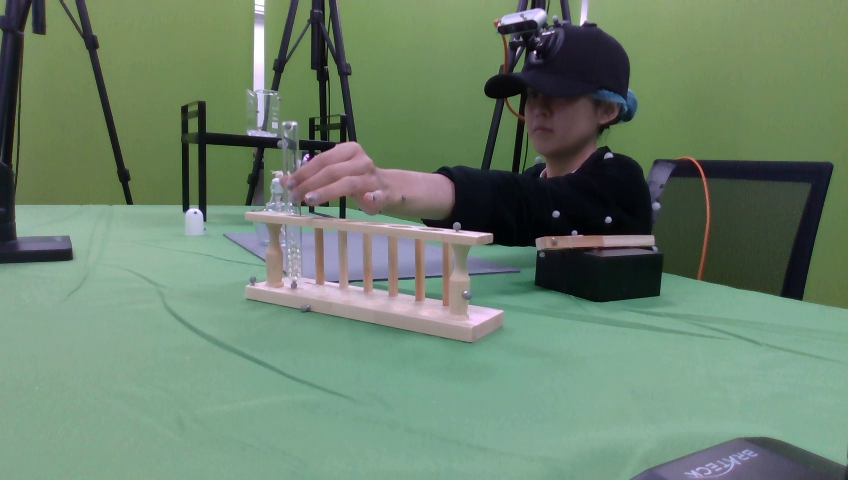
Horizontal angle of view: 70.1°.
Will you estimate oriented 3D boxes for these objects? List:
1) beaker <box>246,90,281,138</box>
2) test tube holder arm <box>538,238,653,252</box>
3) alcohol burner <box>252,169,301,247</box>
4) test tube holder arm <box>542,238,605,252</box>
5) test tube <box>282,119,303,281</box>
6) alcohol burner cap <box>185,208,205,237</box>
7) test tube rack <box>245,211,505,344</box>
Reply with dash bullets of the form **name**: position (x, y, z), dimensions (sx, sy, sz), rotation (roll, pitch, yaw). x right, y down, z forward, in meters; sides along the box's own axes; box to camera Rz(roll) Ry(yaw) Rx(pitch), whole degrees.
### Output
- **beaker**: position (-0.354, -0.275, 1.322), dimensions (0.074, 0.100, 0.084), rotation (4, 8, 12)
- **test tube holder arm**: position (0.202, 0.005, 0.695), dimensions (0.179, 0.015, 0.013), rotation (0, 1, -33)
- **alcohol burner**: position (-0.228, -0.050, 0.936), dimensions (0.078, 0.119, 0.078), rotation (1, 7, 0)
- **test tube holder arm**: position (0.166, 0.006, 0.666), dimensions (0.088, 0.015, 0.010), rotation (0, 1, -32)
- **test tube**: position (-0.122, -0.036, 0.561), dimensions (0.017, 0.150, 0.017), rotation (0, 7, 0)
- **alcohol burner cap**: position (-0.391, -0.031, 1.032), dimensions (0.034, 0.048, 0.034), rotation (3, 8, 0)
- **test tube rack**: position (-0.049, 0.025, 0.547), dimensions (0.241, 0.085, 0.067), rotation (7, 8, 29)
